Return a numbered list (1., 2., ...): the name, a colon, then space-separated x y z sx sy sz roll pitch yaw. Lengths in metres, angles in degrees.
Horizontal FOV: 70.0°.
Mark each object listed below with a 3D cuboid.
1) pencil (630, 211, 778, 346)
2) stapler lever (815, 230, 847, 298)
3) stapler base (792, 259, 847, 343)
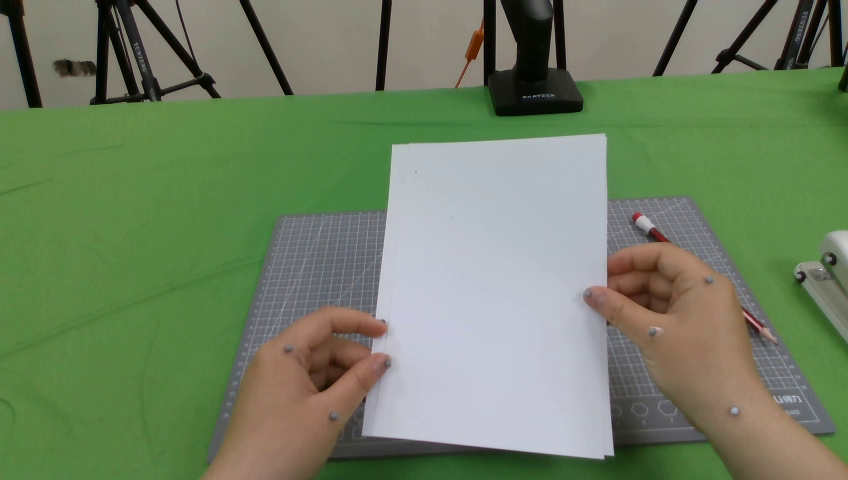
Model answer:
1. pencil: 0.250 0.029 0.556 0.012 0.012 0.191 -15 41 -15
2. stapler lever: 0.362 0.038 0.495 0.027 0.040 0.117 -6 39 1
3. stapler base: 0.363 0.055 0.511 0.041 0.024 0.129 -6 41 0
